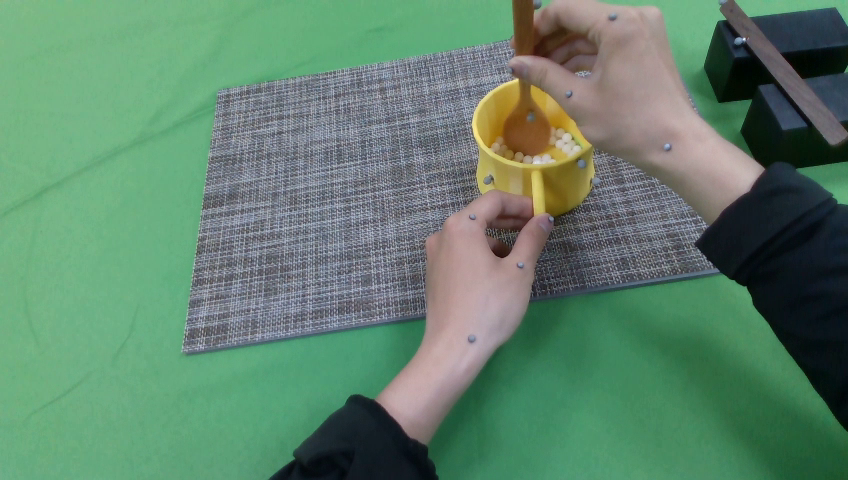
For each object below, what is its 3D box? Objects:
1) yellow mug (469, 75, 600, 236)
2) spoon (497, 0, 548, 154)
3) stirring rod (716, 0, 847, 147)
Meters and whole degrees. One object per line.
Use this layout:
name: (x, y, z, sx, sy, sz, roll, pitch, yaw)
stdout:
yellow mug: (0.088, -0.063, 0.485, 0.100, 0.064, 0.129, -2, 57, 7)
spoon: (0.070, -0.115, 0.437, 0.041, 0.195, 0.021, 6, 72, 12)
stirring rod: (0.280, -0.139, 0.483, 0.014, 0.006, 0.174, -36, 50, 28)
